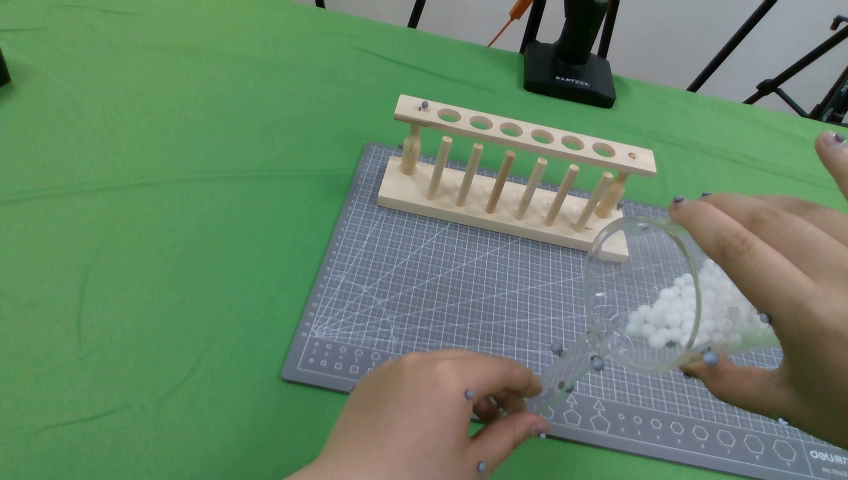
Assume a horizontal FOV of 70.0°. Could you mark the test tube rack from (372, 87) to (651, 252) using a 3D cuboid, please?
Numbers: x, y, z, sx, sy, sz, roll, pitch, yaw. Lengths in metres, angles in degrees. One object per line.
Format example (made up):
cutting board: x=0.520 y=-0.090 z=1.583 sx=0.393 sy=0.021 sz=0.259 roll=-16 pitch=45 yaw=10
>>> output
test tube rack: x=0.080 y=-0.065 z=0.572 sx=0.242 sy=0.086 sz=0.066 roll=12 pitch=45 yaw=-2

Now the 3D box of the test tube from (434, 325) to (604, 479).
test tube: x=0.049 y=0.099 z=0.352 sx=0.017 sy=0.150 sz=0.017 roll=26 pitch=33 yaw=-18

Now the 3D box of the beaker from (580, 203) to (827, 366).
beaker: x=0.140 y=0.021 z=0.306 sx=0.101 sy=0.084 sz=0.073 roll=-4 pitch=51 yaw=-25
